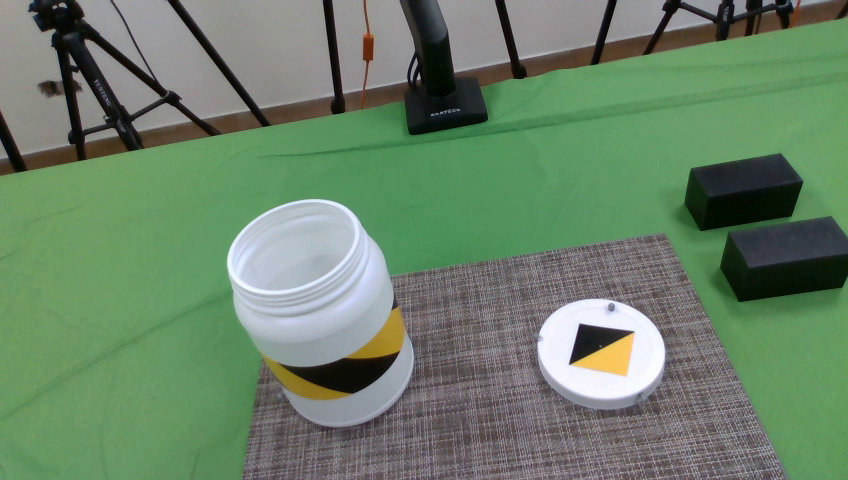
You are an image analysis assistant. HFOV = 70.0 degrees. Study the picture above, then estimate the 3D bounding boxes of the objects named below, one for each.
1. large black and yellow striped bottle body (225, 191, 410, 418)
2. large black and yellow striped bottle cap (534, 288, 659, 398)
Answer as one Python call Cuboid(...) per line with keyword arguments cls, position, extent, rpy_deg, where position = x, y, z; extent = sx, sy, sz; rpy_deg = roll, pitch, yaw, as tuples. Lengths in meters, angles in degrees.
Cuboid(cls="large black and yellow striped bottle body", position=(-0.090, 0.059, 0.543), extent=(0.130, 0.186, 0.129), rpy_deg=(-6, 45, 7))
Cuboid(cls="large black and yellow striped bottle cap", position=(0.162, 0.094, 0.572), extent=(0.115, 0.019, 0.114), rpy_deg=(-6, 46, 7))
